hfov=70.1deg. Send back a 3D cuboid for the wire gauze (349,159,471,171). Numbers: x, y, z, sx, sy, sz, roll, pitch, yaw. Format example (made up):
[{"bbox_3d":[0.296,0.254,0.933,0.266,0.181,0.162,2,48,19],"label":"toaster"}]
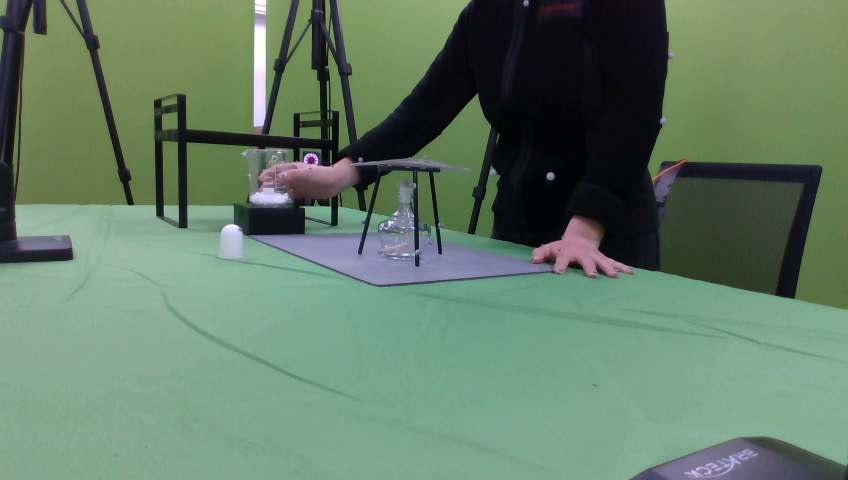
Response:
[{"bbox_3d":[-0.019,-0.106,0.847,0.121,0.011,0.126,8,7,42],"label":"wire gauze"}]

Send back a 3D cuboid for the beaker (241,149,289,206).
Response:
[{"bbox_3d":[-0.282,-0.113,1.083,0.084,0.100,0.073,-4,8,-25],"label":"beaker"}]

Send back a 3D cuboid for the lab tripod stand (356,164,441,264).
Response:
[{"bbox_3d":[-0.023,-0.041,0.859,0.148,0.131,0.148,2,5,0],"label":"lab tripod stand"}]

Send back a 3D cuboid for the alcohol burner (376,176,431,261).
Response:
[{"bbox_3d":[-0.029,-0.031,0.859,0.078,0.119,0.078,2,9,0],"label":"alcohol burner"}]

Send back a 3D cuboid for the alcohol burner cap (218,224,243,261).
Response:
[{"bbox_3d":[-0.263,0.002,0.824,0.034,0.048,0.034,5,9,0],"label":"alcohol burner cap"}]
